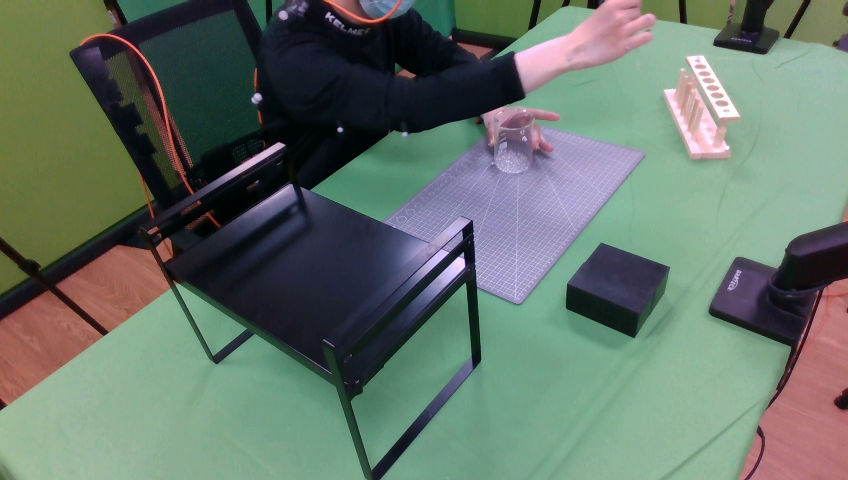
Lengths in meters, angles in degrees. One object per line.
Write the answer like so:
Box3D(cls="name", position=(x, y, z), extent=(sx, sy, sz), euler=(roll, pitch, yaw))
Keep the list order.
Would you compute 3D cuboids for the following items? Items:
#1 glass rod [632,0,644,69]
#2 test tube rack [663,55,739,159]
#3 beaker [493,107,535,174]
Box3D(cls="glass rod", position=(0.340, -0.355, 0.971), extent=(0.008, 0.201, 0.008), euler=(-13, 48, 16))
Box3D(cls="test tube rack", position=(0.517, -0.256, 1.144), extent=(0.066, 0.085, 0.241), euler=(-1, 41, 8))
Box3D(cls="beaker", position=(0.165, -0.179, 1.090), extent=(0.084, 0.101, 0.073), euler=(-34, 48, -28))
